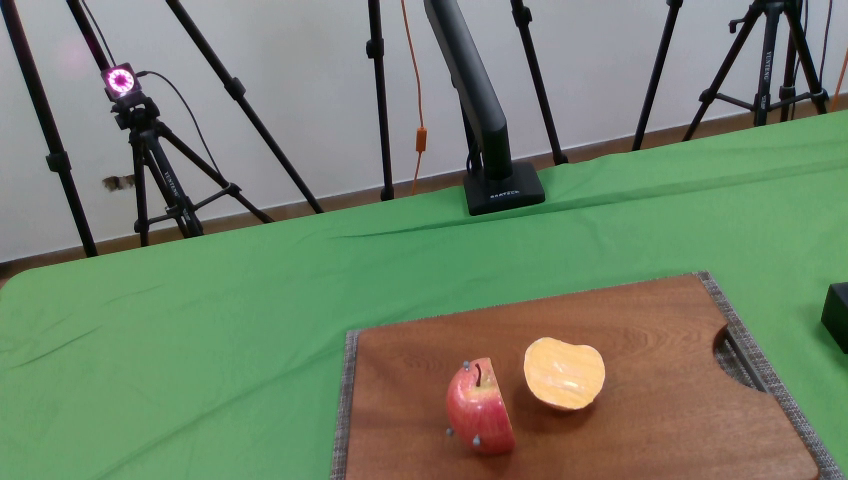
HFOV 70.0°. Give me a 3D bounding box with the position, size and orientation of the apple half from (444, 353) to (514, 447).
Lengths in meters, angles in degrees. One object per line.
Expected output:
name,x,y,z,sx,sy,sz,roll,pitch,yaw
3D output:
apple half,0.047,0.151,0.554,0.053,0.075,0.080,-18,39,1

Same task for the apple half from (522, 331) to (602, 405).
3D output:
apple half,0.131,0.130,0.590,0.081,0.033,0.080,-3,49,3
